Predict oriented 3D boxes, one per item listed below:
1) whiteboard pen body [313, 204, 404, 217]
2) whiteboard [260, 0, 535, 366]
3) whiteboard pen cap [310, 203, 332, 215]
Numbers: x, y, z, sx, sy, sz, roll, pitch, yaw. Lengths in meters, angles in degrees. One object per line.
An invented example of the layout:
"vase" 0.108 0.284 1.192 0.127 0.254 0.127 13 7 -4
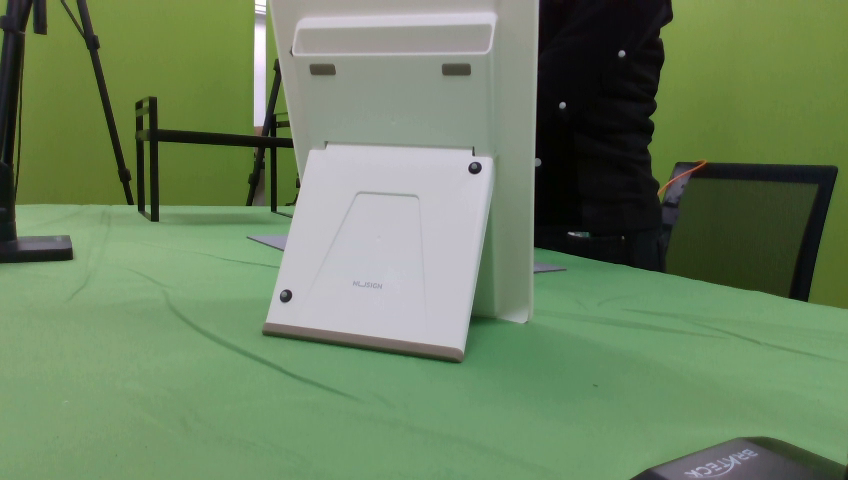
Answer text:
"whiteboard pen body" -0.099 -0.046 0.930 0.141 0.017 0.017 2 8 -16
"whiteboard" -0.037 -0.040 0.457 0.216 0.305 0.144 5 28 19
"whiteboard pen cap" -0.156 -0.046 0.914 0.033 0.018 0.018 3 7 -15
